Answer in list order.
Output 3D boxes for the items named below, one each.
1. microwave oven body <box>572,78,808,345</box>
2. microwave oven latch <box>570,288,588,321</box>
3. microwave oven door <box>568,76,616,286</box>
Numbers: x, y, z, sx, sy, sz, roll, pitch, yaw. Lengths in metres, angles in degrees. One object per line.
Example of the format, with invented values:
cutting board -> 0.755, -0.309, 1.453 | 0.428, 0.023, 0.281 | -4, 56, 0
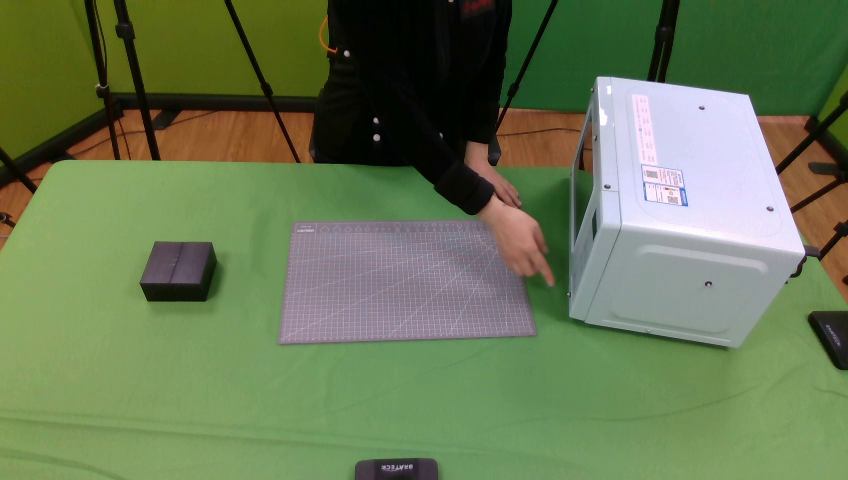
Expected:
microwave oven body -> 0.456, -0.063, 1.124 | 0.326, 0.261, 0.439 | 8, 45, 5
microwave oven latch -> 0.277, 0.106, 1.082 | 0.030, 0.029, 0.079 | 11, 46, 8
microwave oven door -> 0.319, -0.119, 1.161 | 0.039, 0.245, 0.354 | 9, 46, 5
